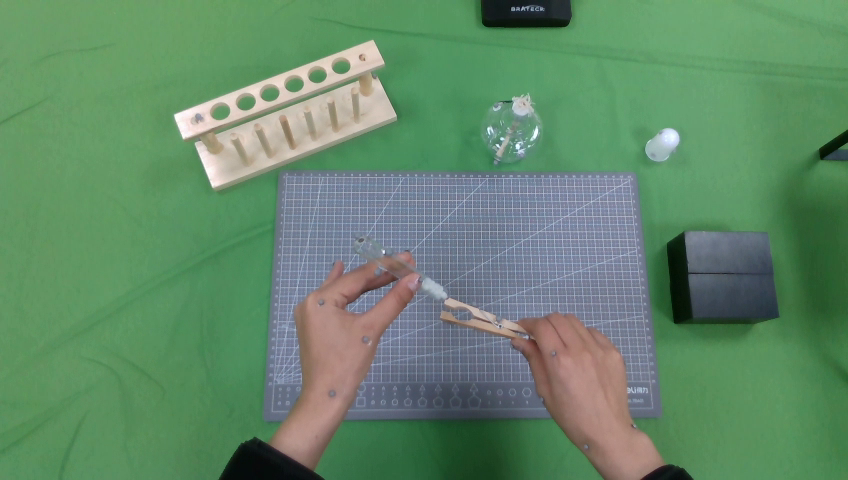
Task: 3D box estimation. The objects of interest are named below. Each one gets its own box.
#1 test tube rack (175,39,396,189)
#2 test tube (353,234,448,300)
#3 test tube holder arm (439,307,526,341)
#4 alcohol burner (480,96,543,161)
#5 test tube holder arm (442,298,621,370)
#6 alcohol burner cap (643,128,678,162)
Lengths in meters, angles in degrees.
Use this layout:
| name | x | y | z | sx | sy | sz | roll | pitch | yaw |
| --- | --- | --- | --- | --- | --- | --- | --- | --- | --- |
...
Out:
| name | x | y | z | sx | sy | sz | roll | pitch | yaw |
| --- | --- | --- | --- | --- | --- | --- | --- | --- | --- |
| test tube rack | -0.158 | -0.149 | 0.727 | 0.242 | 0.085 | 0.066 | -23 | 76 | -8 |
| test tube | -0.015 | 0.027 | 0.511 | 0.017 | 0.152 | 0.017 | -9 | 67 | 23 |
| test tube holder arm | 0.058 | 0.083 | 0.594 | 0.087 | 0.015 | 0.010 | 14 | 79 | 9 |
| alcohol burner | 0.108 | -0.141 | 0.723 | 0.078 | 0.119 | 0.077 | 1 | 75 | -3 |
| test tube holder arm | 0.102 | 0.090 | 0.588 | 0.178 | 0.015 | 0.013 | 18 | 80 | 10 |
| alcohol burner cap | 0.300 | -0.121 | 0.763 | 0.034 | 0.048 | 0.033 | 0 | 74 | -1 |
